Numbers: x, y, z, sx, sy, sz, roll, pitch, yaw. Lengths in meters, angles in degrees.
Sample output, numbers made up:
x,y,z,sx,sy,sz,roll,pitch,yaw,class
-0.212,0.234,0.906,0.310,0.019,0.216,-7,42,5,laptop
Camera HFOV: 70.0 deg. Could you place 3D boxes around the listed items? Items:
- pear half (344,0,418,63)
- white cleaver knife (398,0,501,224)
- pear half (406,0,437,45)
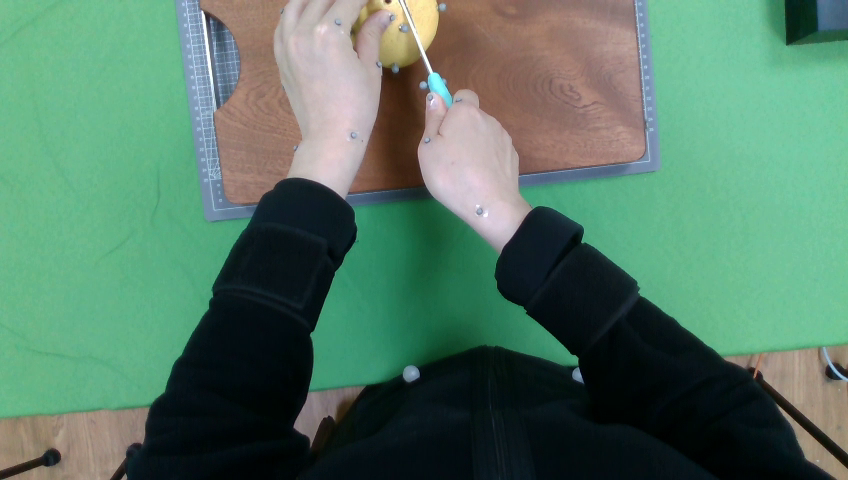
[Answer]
x,y,z,sx,sy,sz,roll,pitch,yaw,class
-0.040,-0.187,0.508,0.056,0.110,0.076,-30,88,4,pear half
0.005,-0.148,0.507,0.021,0.066,0.286,-22,91,4,white cleaver knife
-0.007,-0.204,0.517,0.031,0.088,0.070,-30,88,-2,pear half
